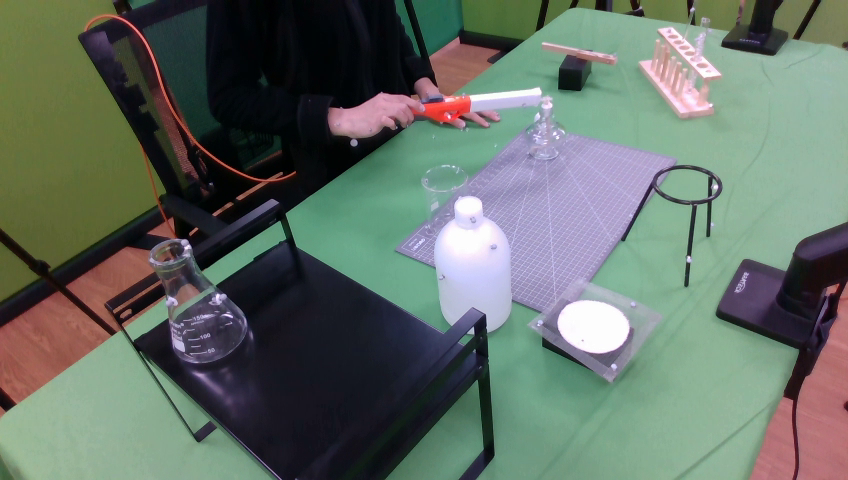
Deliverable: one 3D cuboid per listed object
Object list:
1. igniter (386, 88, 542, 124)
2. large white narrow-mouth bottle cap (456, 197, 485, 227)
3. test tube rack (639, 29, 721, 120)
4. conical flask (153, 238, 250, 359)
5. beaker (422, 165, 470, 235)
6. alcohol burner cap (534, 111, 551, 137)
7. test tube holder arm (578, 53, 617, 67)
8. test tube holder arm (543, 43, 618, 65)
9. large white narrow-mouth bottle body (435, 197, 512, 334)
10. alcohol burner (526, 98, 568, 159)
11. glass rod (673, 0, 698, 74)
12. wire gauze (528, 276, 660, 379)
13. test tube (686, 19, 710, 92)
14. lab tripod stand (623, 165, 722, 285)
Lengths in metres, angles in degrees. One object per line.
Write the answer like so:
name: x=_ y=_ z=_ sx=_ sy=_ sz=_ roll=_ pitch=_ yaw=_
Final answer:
igniter: x=0.071 y=-0.235 z=1.057 sx=0.277 sy=0.057 sz=0.025 roll=-8 pitch=54 yaw=-8
large white narrow-mouth bottle cap: x=0.058 y=-0.035 z=0.750 sx=0.038 sy=0.024 sz=0.037 roll=-4 pitch=40 yaw=4
test tube rack: x=0.527 y=-0.351 z=1.262 sx=0.067 sy=0.085 sz=0.241 roll=-8 pitch=40 yaw=1
conical flask: x=-0.225 y=0.055 z=0.597 sx=0.075 sy=0.122 sz=0.075 roll=-5 pitch=41 yaw=4
beaker: x=0.041 y=-0.063 z=0.986 sx=0.073 sy=0.101 sz=0.084 roll=20 pitch=47 yaw=29
alcohol burner cap: x=0.235 y=-0.231 z=1.197 sx=0.034 sy=0.048 sz=0.033 roll=-5 pitch=38 yaw=4
test tube holder arm: x=0.376 y=-0.393 z=1.314 sx=0.087 sy=0.015 sz=0.010 roll=26 pitch=51 yaw=32
test tube holder arm: x=0.344 y=-0.413 z=1.341 sx=0.177 sy=0.015 sz=0.013 roll=25 pitch=50 yaw=31
large white narrow-mouth bottle body: x=0.066 y=0.028 z=0.805 sx=0.102 sy=0.195 sz=0.101 roll=-4 pitch=40 yaw=4
alcohol burner: x=0.228 y=-0.210 z=1.118 sx=0.078 sy=0.119 sz=0.077 roll=-5 pitch=43 yaw=5
glass rod: x=0.538 y=-0.425 z=1.244 sx=0.008 sy=0.200 sz=0.008 roll=0 pitch=47 yaw=0
wire gauze: x=0.213 y=0.103 z=0.763 sx=0.124 sy=0.011 sz=0.122 roll=30 pitch=52 yaw=35
test tube: x=0.540 y=-0.360 z=1.193 sx=0.017 sy=0.151 sz=0.017 roll=-4 pitch=43 yaw=4
lab tripod stand: x=0.365 y=-0.030 z=0.874 sx=0.148 sy=0.132 sz=0.147 roll=-6 pitch=41 yaw=6
